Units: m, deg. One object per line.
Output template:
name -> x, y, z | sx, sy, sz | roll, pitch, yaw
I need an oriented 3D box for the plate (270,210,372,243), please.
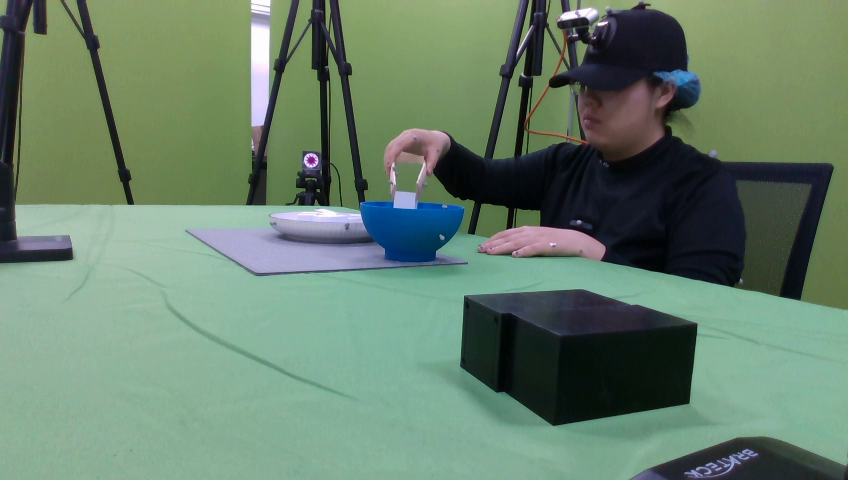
plate -> -0.161, -0.023, 1.054 | 0.208, 0.039, 0.207 | 2, 7, 0

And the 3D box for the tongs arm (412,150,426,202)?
tongs arm -> -0.010, -0.117, 1.039 | 0.028, 0.028, 0.387 | -1, 16, 0

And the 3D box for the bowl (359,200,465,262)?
bowl -> -0.018, -0.013, 0.859 | 0.151, 0.077, 0.151 | 2, 7, 0

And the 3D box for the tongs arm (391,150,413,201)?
tongs arm -> -0.033, -0.118, 1.038 | 0.051, 0.026, 0.384 | 1, 16, -5
